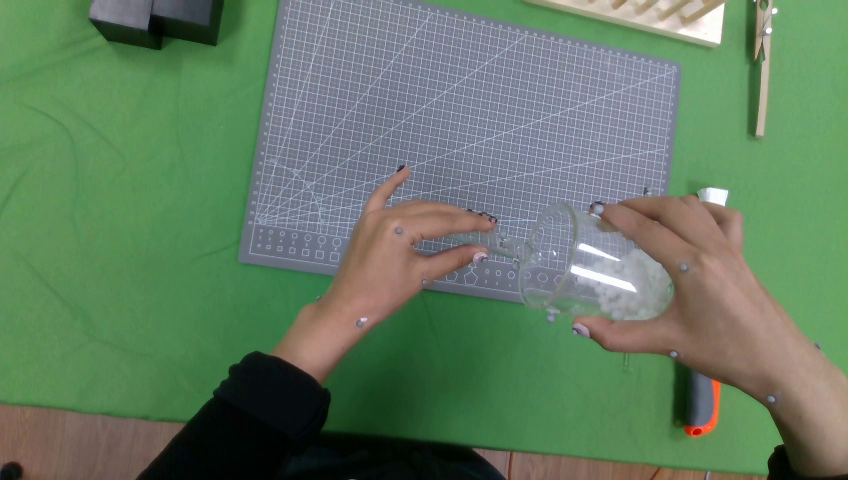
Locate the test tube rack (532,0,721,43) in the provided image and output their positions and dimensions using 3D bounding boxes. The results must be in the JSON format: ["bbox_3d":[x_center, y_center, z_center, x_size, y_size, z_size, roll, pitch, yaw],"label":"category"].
[{"bbox_3d":[0.232,-0.285,0.651,0.243,0.085,0.066,9,86,-11],"label":"test tube rack"}]

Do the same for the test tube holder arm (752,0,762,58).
[{"bbox_3d":[0.395,-0.261,0.719,0.010,0.015,0.087,1,88,25],"label":"test tube holder arm"}]

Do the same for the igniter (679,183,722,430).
[{"bbox_3d":[0.314,0.074,0.683,0.057,0.025,0.276,5,87,-21],"label":"igniter"}]

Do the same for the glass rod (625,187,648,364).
[{"bbox_3d":[0.237,0.039,0.675,0.008,0.008,0.199,8,86,-11],"label":"glass rod"}]

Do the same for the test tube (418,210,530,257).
[{"bbox_3d":[0.036,-0.008,0.503,0.017,0.149,0.017,-7,104,-29],"label":"test tube"}]

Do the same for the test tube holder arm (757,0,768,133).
[{"bbox_3d":[0.400,-0.216,0.715,0.013,0.015,0.178,0,87,25],"label":"test tube holder arm"}]

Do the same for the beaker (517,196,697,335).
[{"bbox_3d":[0.124,0.020,0.415,0.101,0.083,0.074,17,87,-13],"label":"beaker"}]
